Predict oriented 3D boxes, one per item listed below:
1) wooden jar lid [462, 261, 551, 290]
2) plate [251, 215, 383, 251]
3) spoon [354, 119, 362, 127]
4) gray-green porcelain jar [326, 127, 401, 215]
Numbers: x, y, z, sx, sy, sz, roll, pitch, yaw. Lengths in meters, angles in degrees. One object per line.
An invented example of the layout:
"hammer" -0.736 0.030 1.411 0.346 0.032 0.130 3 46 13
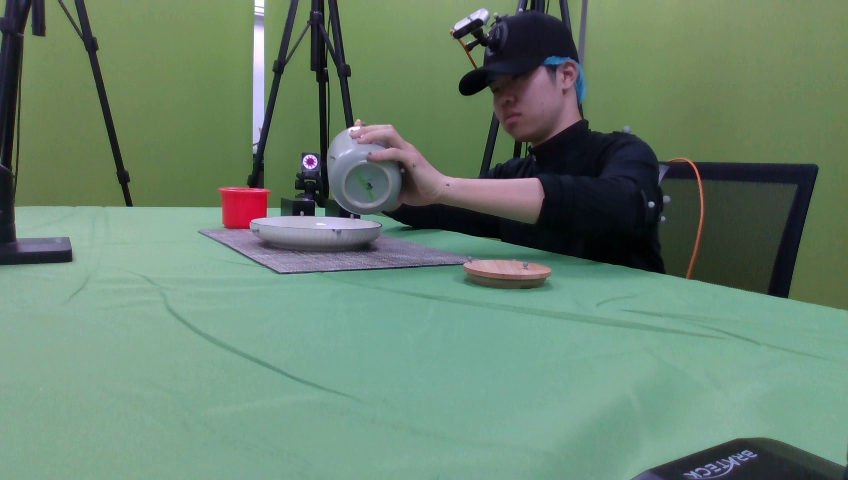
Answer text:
"wooden jar lid" 0.100 0.043 0.742 0.108 0.020 0.108 2 6 0
"plate" -0.170 -0.012 0.971 0.208 0.039 0.207 2 7 0
"spoon" -0.102 -0.134 0.946 0.042 0.021 0.193 10 38 -19
"gray-green porcelain jar" -0.091 -0.101 0.893 0.106 0.106 0.126 1 23 -12
